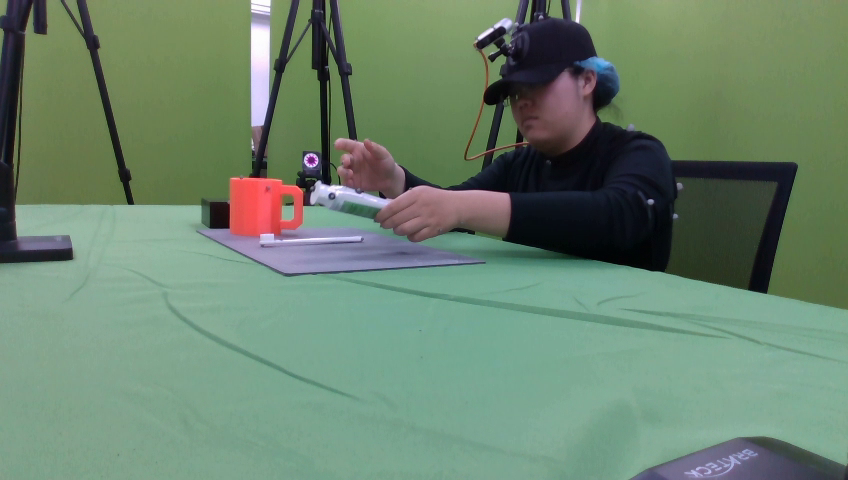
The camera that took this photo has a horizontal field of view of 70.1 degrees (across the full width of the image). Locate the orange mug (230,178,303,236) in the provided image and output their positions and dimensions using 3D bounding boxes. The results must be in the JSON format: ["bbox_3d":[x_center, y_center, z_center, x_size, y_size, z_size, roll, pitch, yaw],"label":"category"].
[{"bbox_3d":[-0.275,-0.060,1.058,0.126,0.101,0.083,-2,8,-5],"label":"orange mug"}]

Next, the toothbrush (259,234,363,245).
[{"bbox_3d":[-0.175,-0.002,0.958,0.183,0.016,0.014,-1,-4,-39],"label":"toothbrush"}]

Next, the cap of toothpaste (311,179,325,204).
[{"bbox_3d":[-0.149,-0.067,0.848,0.011,0.037,0.037,14,1,-28],"label":"cap of toothpaste"}]

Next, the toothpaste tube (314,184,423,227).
[{"bbox_3d":[-0.083,-0.051,0.887,0.166,0.034,0.055,15,-29,-32],"label":"toothpaste tube"}]
